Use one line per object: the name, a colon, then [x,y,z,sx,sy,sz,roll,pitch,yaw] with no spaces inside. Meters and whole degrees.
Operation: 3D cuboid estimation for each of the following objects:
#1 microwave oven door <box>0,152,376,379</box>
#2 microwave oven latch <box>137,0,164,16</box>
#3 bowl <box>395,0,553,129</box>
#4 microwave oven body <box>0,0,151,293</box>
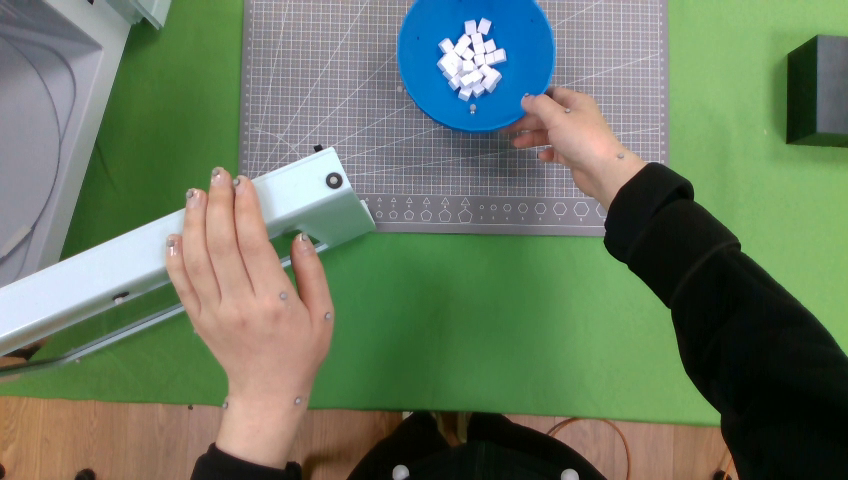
microwave oven door: [-0.215,0.032,0.487,0.356,0.244,0.039,-24,86,-3]
microwave oven latch: [-0.269,-0.268,0.604,0.030,0.029,0.079,16,87,-1]
bowl: [0.046,-0.177,0.603,0.151,0.077,0.151,0,87,-1]
microwave oven body: [-0.456,-0.143,0.495,0.326,0.260,0.441,15,87,-1]
